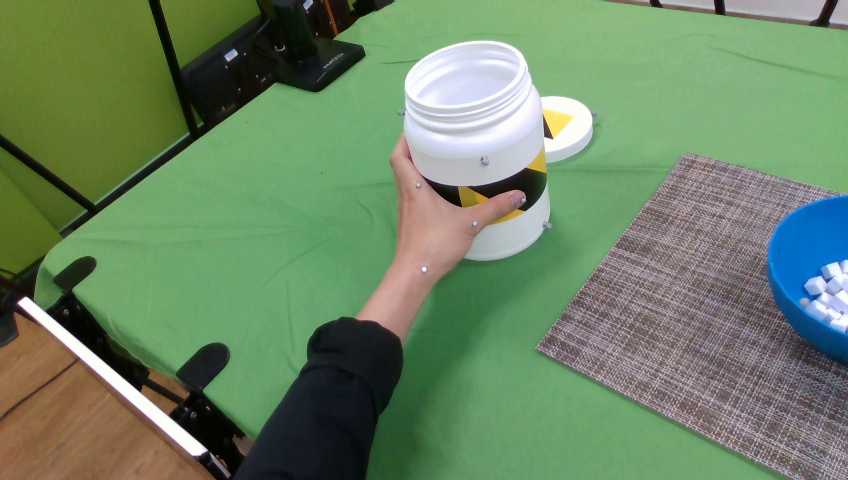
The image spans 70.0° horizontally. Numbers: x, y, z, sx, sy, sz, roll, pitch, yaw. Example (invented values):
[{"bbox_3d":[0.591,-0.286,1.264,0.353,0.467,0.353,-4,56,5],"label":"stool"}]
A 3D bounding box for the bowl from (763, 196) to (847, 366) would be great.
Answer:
[{"bbox_3d":[0.334,0.045,0.456,0.151,0.077,0.150,-8,45,9],"label":"bowl"}]

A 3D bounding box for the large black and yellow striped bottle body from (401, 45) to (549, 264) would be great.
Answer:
[{"bbox_3d":[0.052,-0.081,0.595,0.130,0.186,0.129,-8,44,9],"label":"large black and yellow striped bottle body"}]

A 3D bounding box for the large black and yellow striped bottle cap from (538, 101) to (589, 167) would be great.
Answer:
[{"bbox_3d":[0.144,-0.132,0.742,0.115,0.019,0.114,-7,45,8],"label":"large black and yellow striped bottle cap"}]
